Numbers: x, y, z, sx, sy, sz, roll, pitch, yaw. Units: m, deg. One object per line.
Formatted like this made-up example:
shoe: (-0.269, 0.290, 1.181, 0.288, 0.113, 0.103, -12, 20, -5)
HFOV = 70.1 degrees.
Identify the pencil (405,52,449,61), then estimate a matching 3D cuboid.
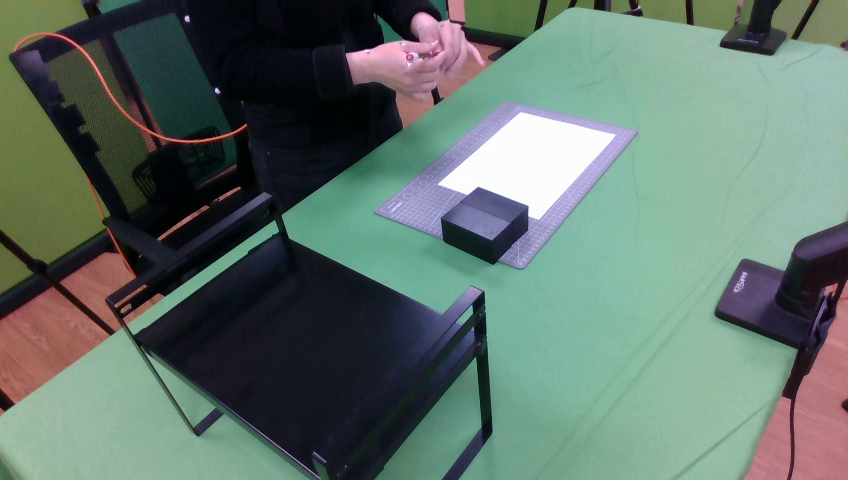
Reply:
pencil: (0.010, -0.293, 0.959, 0.012, 0.012, 0.194, 9, 20, 19)
